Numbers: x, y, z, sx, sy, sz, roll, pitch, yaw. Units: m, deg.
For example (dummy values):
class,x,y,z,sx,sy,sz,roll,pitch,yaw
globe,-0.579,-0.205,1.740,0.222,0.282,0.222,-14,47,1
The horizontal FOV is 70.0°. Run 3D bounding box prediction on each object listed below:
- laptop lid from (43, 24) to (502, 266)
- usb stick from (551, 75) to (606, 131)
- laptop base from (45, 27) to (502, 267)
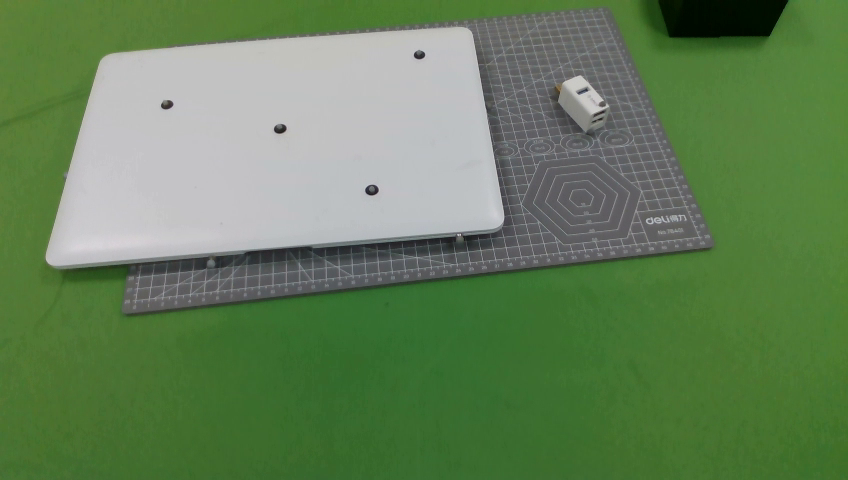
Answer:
class,x,y,z,sx,sy,sz,roll,pitch,yaw
laptop lid,-0.123,-0.094,0.515,0.357,0.013,0.239,-3,59,-1
usb stick,0.135,-0.126,0.538,0.021,0.027,0.058,-25,57,-13
laptop base,-0.123,-0.089,0.527,0.354,0.023,0.233,-5,61,-2
